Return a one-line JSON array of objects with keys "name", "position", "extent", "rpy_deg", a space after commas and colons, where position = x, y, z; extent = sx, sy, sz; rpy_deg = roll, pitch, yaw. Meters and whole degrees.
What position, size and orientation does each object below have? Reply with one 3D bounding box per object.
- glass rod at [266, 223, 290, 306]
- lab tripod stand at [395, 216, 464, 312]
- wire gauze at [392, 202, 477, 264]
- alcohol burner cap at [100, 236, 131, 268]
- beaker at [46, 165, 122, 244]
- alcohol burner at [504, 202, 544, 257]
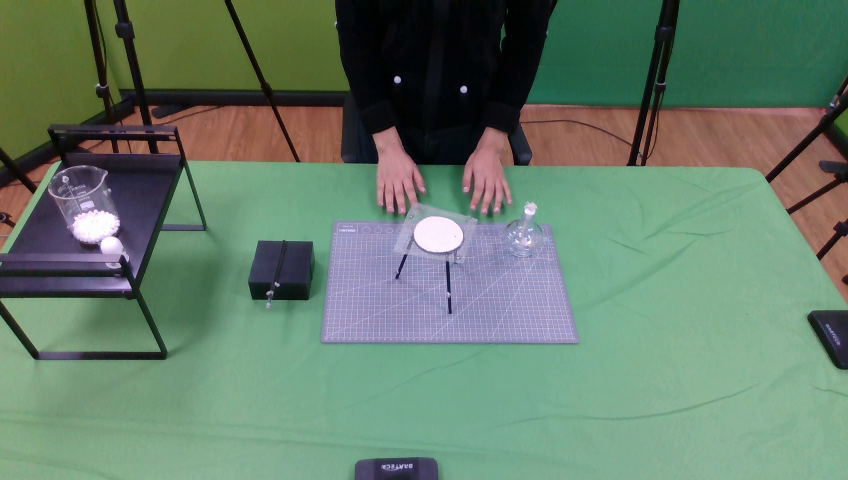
[{"name": "glass rod", "position": [-0.260, 0.039, 1.083], "extent": [0.008, 0.008, 0.198], "rpy_deg": [3, 46, -1]}, {"name": "lab tripod stand", "position": [0.023, 0.036, 1.084], "extent": [0.148, 0.132, 0.147], "rpy_deg": [4, 46, -4]}, {"name": "wire gauze", "position": [0.021, -0.011, 1.037], "extent": [0.121, 0.011, 0.124], "rpy_deg": [13, 47, 8]}, {"name": "alcohol burner cap", "position": [-0.452, 0.016, 0.883], "extent": [0.034, 0.048, 0.033], "rpy_deg": [1, 48, -1]}, {"name": "beaker", "position": [-0.499, -0.051, 0.905], "extent": [0.073, 0.101, 0.084], "rpy_deg": [35, 53, 26]}, {"name": "alcohol burner", "position": [0.195, -0.025, 1.170], "extent": [0.078, 0.119, 0.077], "rpy_deg": [2, 44, -2]}]
